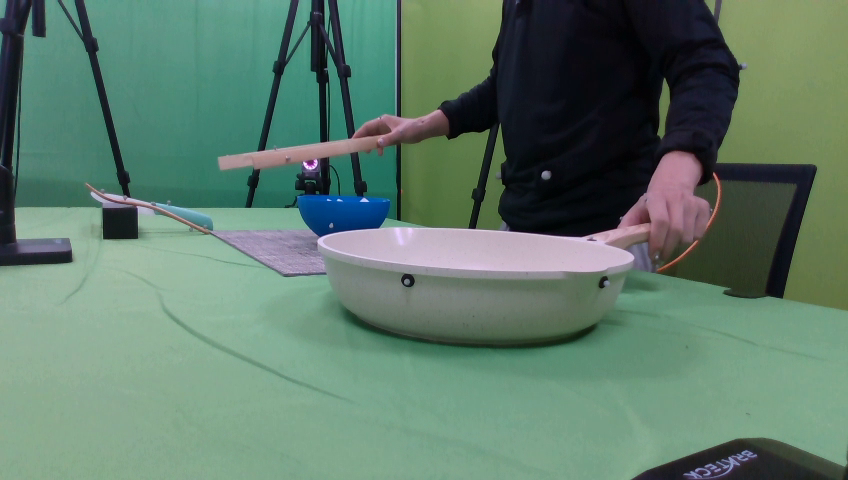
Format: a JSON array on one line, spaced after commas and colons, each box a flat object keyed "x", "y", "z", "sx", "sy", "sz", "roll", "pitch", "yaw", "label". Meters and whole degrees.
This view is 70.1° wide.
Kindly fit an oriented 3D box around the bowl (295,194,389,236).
[{"x": -0.132, "y": -0.032, "z": 0.980, "sx": 0.151, "sy": 0.077, "sz": 0.151, "roll": 2, "pitch": 7, "yaw": 0, "label": "bowl"}]

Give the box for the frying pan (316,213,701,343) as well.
[{"x": 0.133, "y": 0.013, "z": 0.629, "sx": 0.490, "sy": 0.102, "sz": 0.305, "roll": -12, "pitch": 14, "yaw": -30, "label": "frying pan"}]

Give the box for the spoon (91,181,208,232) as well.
[{"x": -0.461, "y": -0.053, "z": 1.023, "sx": 0.195, "sy": 0.021, "sz": 0.041, "roll": 21, "pitch": 22, "yaw": -24, "label": "spoon"}]

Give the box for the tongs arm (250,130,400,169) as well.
[{"x": -0.176, "y": -0.182, "z": 1.190, "sx": 0.028, "sy": 0.028, "sz": 0.389, "roll": -4, "pitch": 11, "yaw": 42, "label": "tongs arm"}]

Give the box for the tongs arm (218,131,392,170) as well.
[{"x": -0.226, "y": -0.187, "z": 1.248, "sx": 0.387, "sy": 0.026, "sz": 0.050, "roll": -16, "pitch": 13, "yaw": -35, "label": "tongs arm"}]

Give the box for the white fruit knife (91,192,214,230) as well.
[{"x": -0.477, "y": -0.055, "z": 1.077, "sx": 0.208, "sy": 0.027, "sz": 0.016, "roll": 15, "pitch": -5, "yaw": -30, "label": "white fruit knife"}]
